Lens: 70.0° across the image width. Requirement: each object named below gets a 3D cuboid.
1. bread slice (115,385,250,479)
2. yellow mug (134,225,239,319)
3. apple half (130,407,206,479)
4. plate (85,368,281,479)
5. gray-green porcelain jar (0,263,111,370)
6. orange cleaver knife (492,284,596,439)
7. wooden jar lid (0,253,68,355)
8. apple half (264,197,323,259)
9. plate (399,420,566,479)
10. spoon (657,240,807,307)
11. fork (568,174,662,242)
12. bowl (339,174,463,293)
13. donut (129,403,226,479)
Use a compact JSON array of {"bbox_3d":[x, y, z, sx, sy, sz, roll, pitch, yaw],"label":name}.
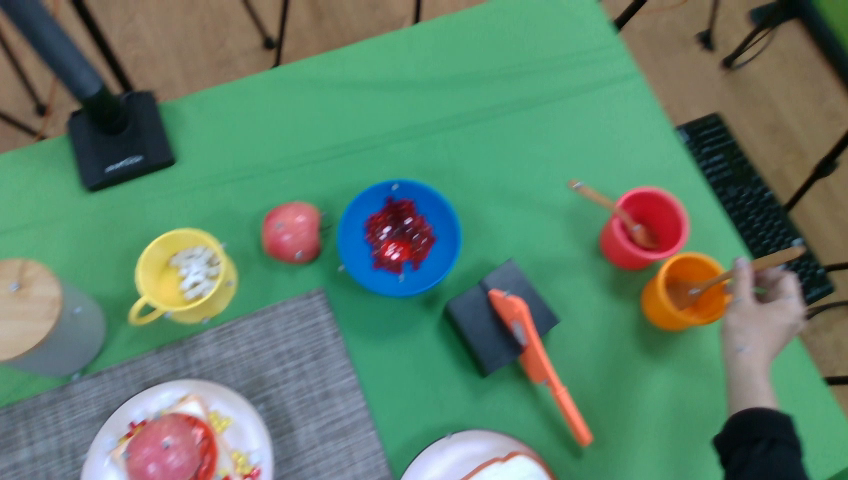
[{"bbox_3d":[-0.259,0.246,0.678,0.107,0.018,0.134,-39,80,-15],"label":"bread slice"},{"bbox_3d":[-0.294,0.049,0.733,0.099,0.064,0.130,44,74,11],"label":"yellow mug"},{"bbox_3d":[-0.266,0.213,0.621,0.081,0.033,0.080,-1,70,2],"label":"apple half"},{"bbox_3d":[-0.263,0.249,0.677,0.208,0.039,0.206,2,71,-4],"label":"plate"},{"bbox_3d":[-0.423,0.087,0.678,0.106,0.127,0.105,2,70,-4],"label":"gray-green porcelain jar"},{"bbox_3d":[0.141,0.144,0.726,0.012,0.077,0.212,-32,97,-21],"label":"orange cleaver knife"},{"bbox_3d":[-0.419,0.066,0.617,0.108,0.021,0.107,2,68,-5],"label":"wooden jar lid"},{"bbox_3d":[-0.168,-0.020,0.775,0.075,0.053,0.080,0,71,-2],"label":"apple half"},{"bbox_3d":[0.066,0.312,0.684,0.209,0.038,0.207,1,71,-4],"label":"plate"},{"bbox_3d":[0.352,0.039,0.709,0.022,0.194,0.041,13,64,-21],"label":"spoon"},{"bbox_3d":[0.245,-0.039,0.763,0.209,0.018,0.028,26,62,-39],"label":"fork"},{"bbox_3d":[-0.030,0.002,0.764,0.151,0.077,0.150,1,71,-4],"label":"bowl"},{"bbox_3d":[-0.265,0.226,0.654,0.099,0.048,0.098,1,71,-3],"label":"donut"}]
